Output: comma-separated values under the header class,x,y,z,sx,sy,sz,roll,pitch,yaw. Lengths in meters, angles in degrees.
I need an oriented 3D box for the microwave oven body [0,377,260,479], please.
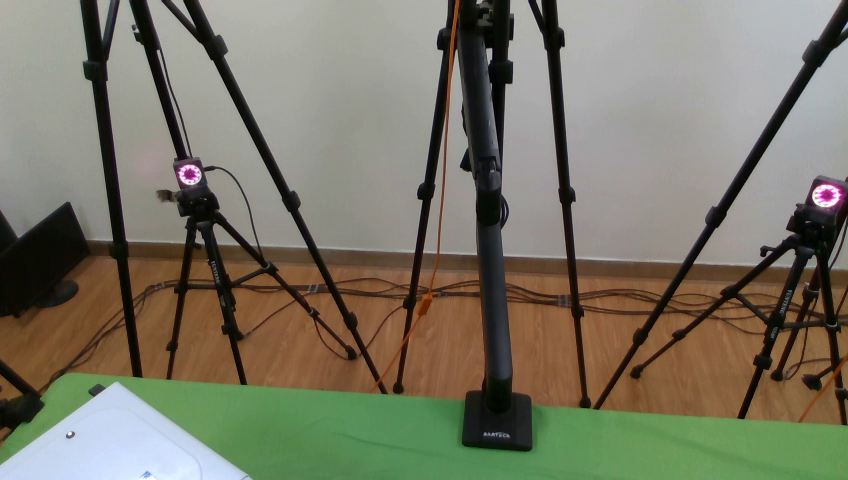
class,x,y,z,sx,sy,sz,roll,pitch,yaw
microwave oven body,-0.437,0.439,0.718,0.323,0.262,0.441,21,43,28
